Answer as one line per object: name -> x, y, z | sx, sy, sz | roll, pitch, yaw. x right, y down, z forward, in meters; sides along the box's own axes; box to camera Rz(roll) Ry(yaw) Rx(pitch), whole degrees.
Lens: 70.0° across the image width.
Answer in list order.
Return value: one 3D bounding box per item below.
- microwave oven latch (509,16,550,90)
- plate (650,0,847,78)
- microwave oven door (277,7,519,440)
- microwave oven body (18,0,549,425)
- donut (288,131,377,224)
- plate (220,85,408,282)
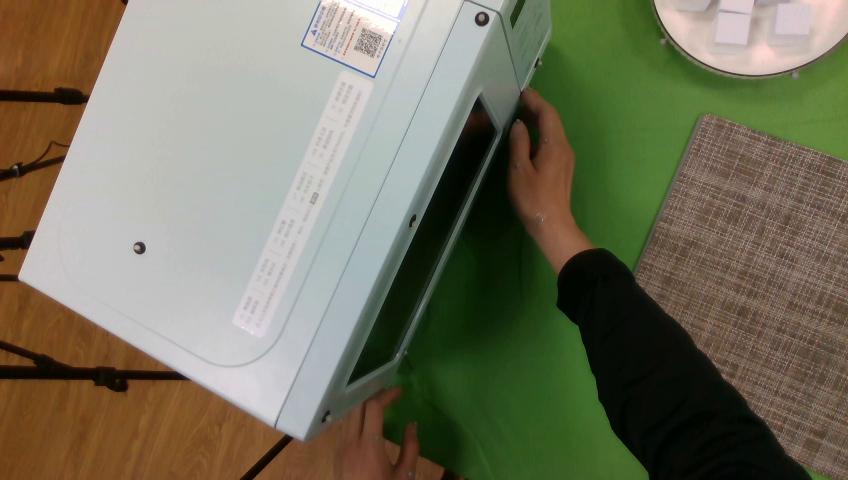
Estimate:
microwave oven latch -> 0.107, -0.204, 0.648 | 0.030, 0.029, 0.079 | 28, 96, 11
plate -> 0.337, -0.266, 0.617 | 0.207, 0.039, 0.207 | 0, 89, 12
microwave oven door -> -0.009, -0.007, 0.568 | 0.039, 0.244, 0.356 | 25, 94, 12
microwave oven body -> -0.118, -0.107, 0.598 | 0.325, 0.261, 0.442 | 25, 95, 11
donut -> -0.097, -0.066, 0.638 | 0.098, 0.048, 0.099 | 3, 100, 17
plate -> -0.116, -0.059, 0.651 | 0.209, 0.038, 0.209 | 0, 89, 11
